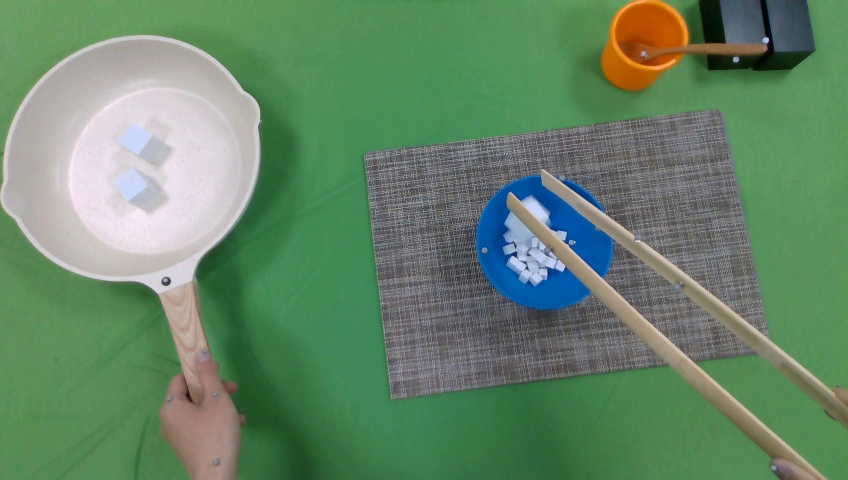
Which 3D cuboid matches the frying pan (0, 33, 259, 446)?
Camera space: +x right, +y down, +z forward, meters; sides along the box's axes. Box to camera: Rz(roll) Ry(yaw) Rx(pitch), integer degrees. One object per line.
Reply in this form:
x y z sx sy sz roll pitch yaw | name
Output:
-0.297 -0.004 0.687 0.307 0.103 0.484 -21 73 -2 | frying pan

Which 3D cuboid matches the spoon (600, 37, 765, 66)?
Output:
0.289 -0.221 0.698 0.022 0.192 0.041 36 77 -38 | spoon

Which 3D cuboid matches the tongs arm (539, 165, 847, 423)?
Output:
0.220 0.059 0.494 0.051 0.027 0.381 -38 59 -18 | tongs arm

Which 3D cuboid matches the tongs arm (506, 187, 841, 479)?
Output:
0.198 0.074 0.488 0.028 0.028 0.383 -33 58 -19 | tongs arm

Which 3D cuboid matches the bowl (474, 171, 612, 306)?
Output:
0.130 0.003 0.693 0.151 0.077 0.151 0 81 0 | bowl
